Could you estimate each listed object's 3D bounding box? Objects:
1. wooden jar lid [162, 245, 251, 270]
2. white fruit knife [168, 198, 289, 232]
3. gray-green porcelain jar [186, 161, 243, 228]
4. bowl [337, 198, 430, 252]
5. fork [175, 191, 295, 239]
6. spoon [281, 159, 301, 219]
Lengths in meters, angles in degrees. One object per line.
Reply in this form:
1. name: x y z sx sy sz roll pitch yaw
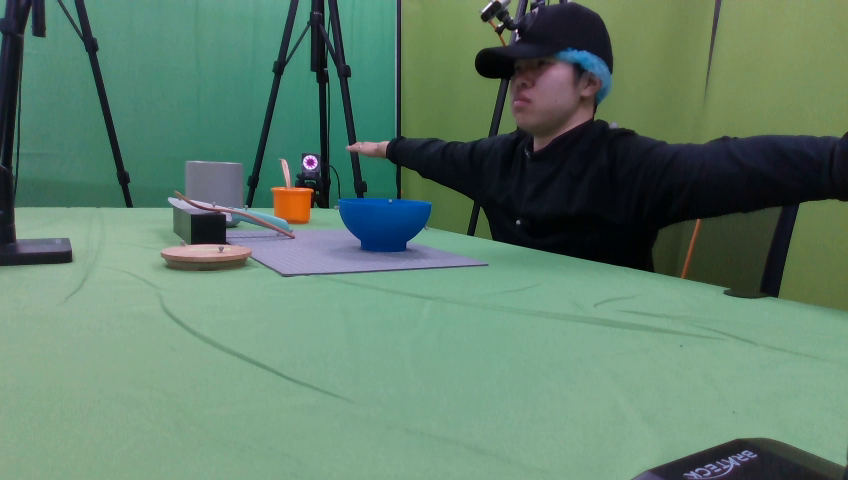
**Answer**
1. wooden jar lid: -0.278 0.022 0.777 0.108 0.020 0.108 2 6 0
2. white fruit knife: -0.329 -0.044 1.036 0.208 0.027 0.016 14 -1 -32
3. gray-green porcelain jar: -0.412 -0.090 1.193 0.106 0.126 0.106 2 7 0
4. bowl: -0.066 -0.024 0.967 0.151 0.077 0.151 3 7 0
5. fork: -0.305 -0.039 0.993 0.208 0.018 0.028 19 -9 -34
6. spoon: -0.307 -0.117 1.368 0.042 0.193 0.021 1 -37 -22
